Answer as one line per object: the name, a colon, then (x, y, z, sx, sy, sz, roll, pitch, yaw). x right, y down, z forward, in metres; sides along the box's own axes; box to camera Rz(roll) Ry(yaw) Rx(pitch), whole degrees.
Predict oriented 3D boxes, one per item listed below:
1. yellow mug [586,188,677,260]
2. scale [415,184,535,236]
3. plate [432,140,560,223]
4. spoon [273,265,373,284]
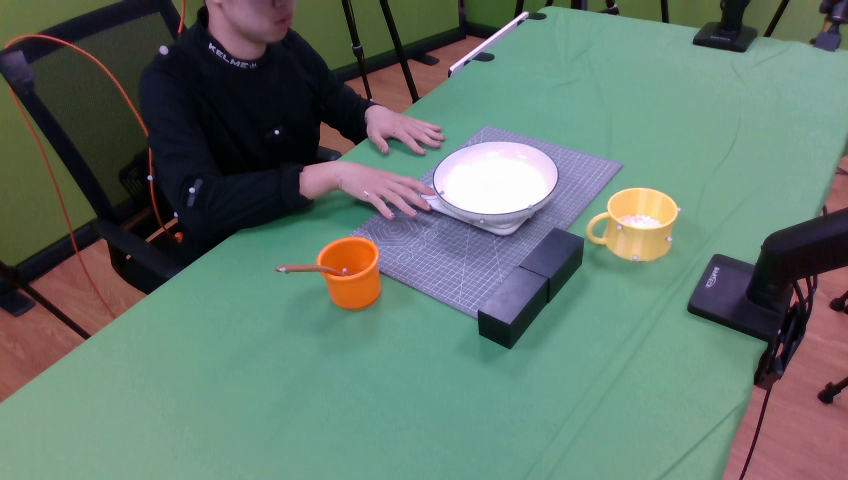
yellow mug: (0.311, -0.022, 0.916, 0.131, 0.064, 0.099, -8, 40, 0)
scale: (0.099, -0.079, 1.035, 0.199, 0.032, 0.149, 23, 48, 31)
plate: (0.118, -0.094, 0.999, 0.209, 0.038, 0.208, -5, 41, 4)
spoon: (-0.137, 0.045, 0.839, 0.041, 0.195, 0.021, 18, 91, 33)
